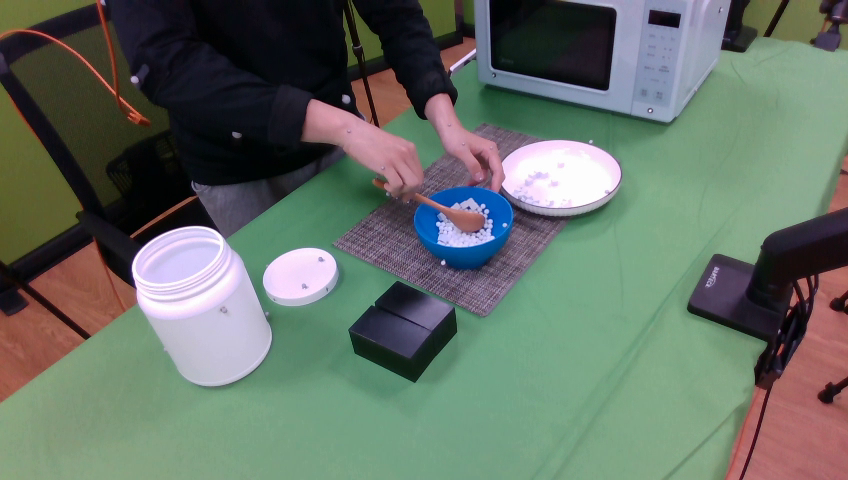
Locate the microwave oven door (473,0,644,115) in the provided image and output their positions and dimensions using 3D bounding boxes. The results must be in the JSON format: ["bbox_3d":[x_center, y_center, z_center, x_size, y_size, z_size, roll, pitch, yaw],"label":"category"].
[{"bbox_3d":[0.257,-0.396,1.199,0.353,0.245,0.039,21,48,29],"label":"microwave oven door"}]

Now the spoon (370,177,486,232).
[{"bbox_3d":[0.008,-0.053,0.898,0.195,0.041,0.021,23,40,-17],"label":"spoon"}]

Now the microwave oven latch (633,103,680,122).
[{"bbox_3d":[0.444,-0.249,1.157,0.078,0.029,0.030,21,49,30],"label":"microwave oven latch"}]

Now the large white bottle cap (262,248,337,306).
[{"bbox_3d":[-0.193,0.056,0.934,0.115,0.018,0.114,-4,41,4],"label":"large white bottle cap"}]

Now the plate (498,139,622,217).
[{"bbox_3d":[0.231,-0.103,1.038,0.209,0.038,0.208,-4,41,4],"label":"plate"}]

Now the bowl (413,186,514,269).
[{"bbox_3d":[0.061,-0.008,0.920,0.151,0.077,0.150,-4,40,3],"label":"bowl"}]

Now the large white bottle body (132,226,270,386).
[{"bbox_3d":[-0.286,0.085,0.783,0.130,0.185,0.130,-4,41,4],"label":"large white bottle body"}]

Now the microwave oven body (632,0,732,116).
[{"bbox_3d":[0.377,-0.463,1.267,0.438,0.261,0.327,21,49,30],"label":"microwave oven body"}]
